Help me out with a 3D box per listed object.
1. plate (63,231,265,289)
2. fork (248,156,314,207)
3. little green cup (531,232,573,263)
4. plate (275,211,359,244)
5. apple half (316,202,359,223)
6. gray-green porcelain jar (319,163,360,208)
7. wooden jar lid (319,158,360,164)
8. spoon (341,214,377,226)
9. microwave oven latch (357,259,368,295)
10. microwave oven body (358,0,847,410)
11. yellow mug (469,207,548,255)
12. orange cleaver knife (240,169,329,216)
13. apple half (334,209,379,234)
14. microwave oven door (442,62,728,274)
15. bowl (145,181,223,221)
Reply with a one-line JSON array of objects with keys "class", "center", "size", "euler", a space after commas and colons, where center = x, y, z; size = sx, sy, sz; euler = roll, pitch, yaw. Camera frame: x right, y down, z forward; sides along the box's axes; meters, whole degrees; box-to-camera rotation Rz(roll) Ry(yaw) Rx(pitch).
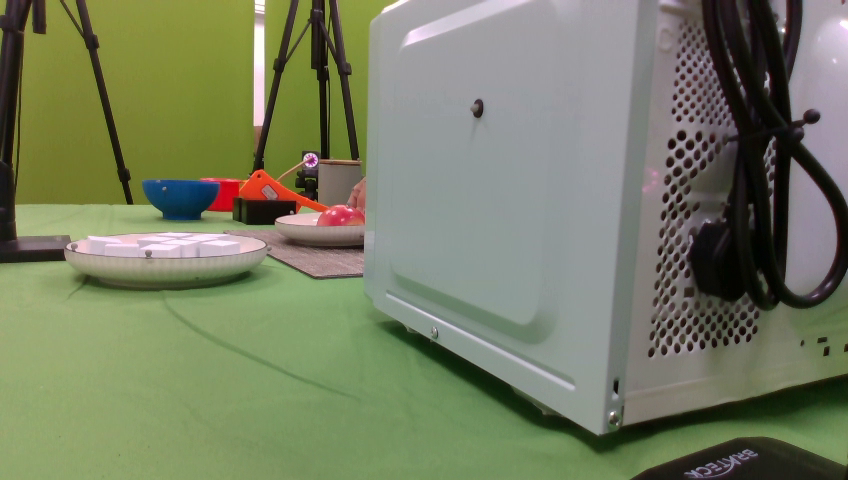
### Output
[{"class": "plate", "center": [-0.288, 0.021, 0.687], "size": [0.208, 0.039, 0.207], "euler": [2, 8, 0]}, {"class": "fork", "center": [-0.360, -0.147, 1.523], "size": [0.207, 0.019, 0.028], "euler": [-43, 16, -6]}, {"class": "little green cup", "center": [0.185, 0.010, 0.879], "size": [0.061, 0.038, 0.061], "euler": [1, 8, 0]}, {"class": "plate", "center": [-0.136, -0.022, 0.991], "size": [0.209, 0.038, 0.209], "euler": [-1, 9, 0]}, {"class": "apple half", "center": [-0.128, -0.032, 0.952], "size": [0.081, 0.053, 0.074], "euler": [-6, 13, -32]}, {"class": "gray-green porcelain jar", "center": [-0.204, -0.126, 1.490], "size": [0.106, 0.126, 0.106], "euler": [2, 8, 0]}, {"class": "wooden jar lid", "center": [-0.203, -0.189, 1.482], "size": [0.108, 0.020, 0.108], "euler": [2, 10, 0]}, {"class": "spoon", "center": [-0.132, -0.047, 1.305], "size": [0.041, 0.021, 0.194], "euler": [-14, 4, 14]}, {"class": "microwave oven latch", "center": [-0.019, 0.032, 0.530], "size": [0.079, 0.029, 0.030], "euler": [-1, 7, -28]}, {"class": "microwave oven body", "center": [0.210, -0.051, 0.471], "size": [0.444, 0.260, 0.324], "euler": [-1, 7, -28]}, {"class": "yellow mug", "center": [0.137, -0.015, 0.950], "size": [0.131, 0.064, 0.099], "euler": [2, 6, -20]}, {"class": "orange cleaver knife", "center": [-0.287, -0.082, 1.298], "size": [0.212, 0.077, 0.012], "euler": [25, -2, -31]}, {"class": "apple half", "center": [-0.114, -0.035, 1.033], "size": [0.081, 0.033, 0.081], "euler": [-2, 16, 1]}, {"class": "microwave oven door", "center": [0.188, -0.097, 0.784], "size": [0.354, 0.243, 0.039], "euler": [6, 9, 31]}, {"class": "bowl", "center": [-0.499, -0.081, 1.261], "size": [0.151, 0.077, 0.151], "euler": [2, 7, 0]}]
